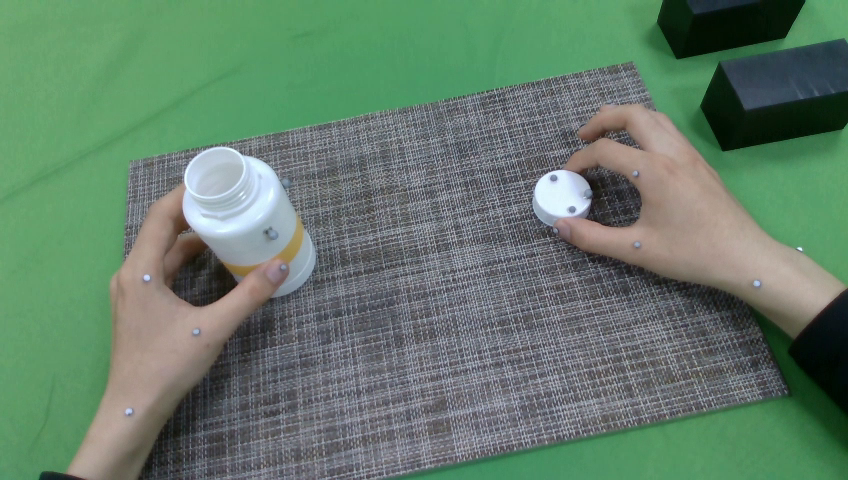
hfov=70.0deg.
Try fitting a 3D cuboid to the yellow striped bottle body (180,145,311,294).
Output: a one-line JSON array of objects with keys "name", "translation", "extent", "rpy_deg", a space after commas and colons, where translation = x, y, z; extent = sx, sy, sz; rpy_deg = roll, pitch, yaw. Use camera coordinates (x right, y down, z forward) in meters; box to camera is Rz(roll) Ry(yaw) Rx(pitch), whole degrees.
[{"name": "yellow striped bottle body", "translation": [-0.122, -0.014, 0.416], "extent": [0.063, 0.121, 0.062], "rpy_deg": [-2, 62, 4]}]

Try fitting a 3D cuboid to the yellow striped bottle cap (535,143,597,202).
[{"name": "yellow striped bottle cap", "translation": [0.104, -0.050, 0.449], "extent": [0.044, 0.019, 0.044], "rpy_deg": [-4, 54, 5]}]
